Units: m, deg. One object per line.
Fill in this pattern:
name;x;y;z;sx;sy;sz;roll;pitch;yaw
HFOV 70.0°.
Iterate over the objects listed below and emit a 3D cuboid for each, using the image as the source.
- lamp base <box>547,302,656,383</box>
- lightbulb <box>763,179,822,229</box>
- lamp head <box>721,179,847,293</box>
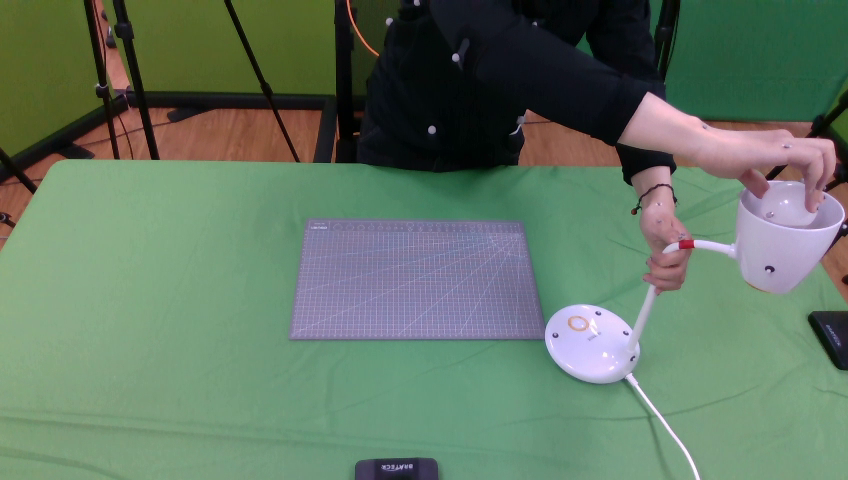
lamp base;0.304;0.127;0.982;0.160;0.181;0.178;-33;59;-29
lightbulb;0.428;-0.021;0.715;0.059;0.108;0.059;-3;31;2
lamp head;0.423;0.002;0.727;0.112;0.123;0.112;0;38;0
